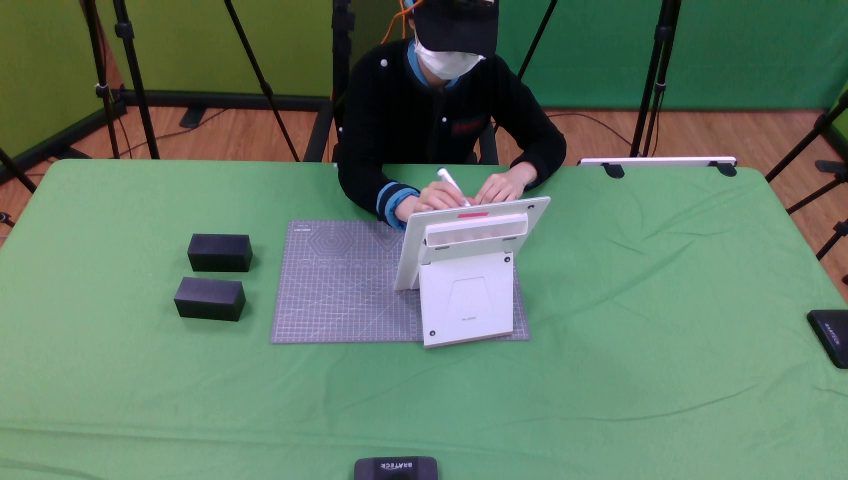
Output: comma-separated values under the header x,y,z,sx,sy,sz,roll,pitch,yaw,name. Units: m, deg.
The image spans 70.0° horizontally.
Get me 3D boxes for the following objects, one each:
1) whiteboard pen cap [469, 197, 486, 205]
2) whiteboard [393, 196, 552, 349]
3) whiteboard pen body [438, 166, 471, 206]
x,y,z,sx,sy,sz,roll,pitch,yaw,name
0.106,-0.074,1.205,0.032,0.017,0.017,11,46,-6,whiteboard pen cap
0.077,0.071,0.977,0.217,0.306,0.143,-7,66,-11,whiteboard
0.062,-0.068,0.990,0.017,0.017,0.140,-21,63,-22,whiteboard pen body
